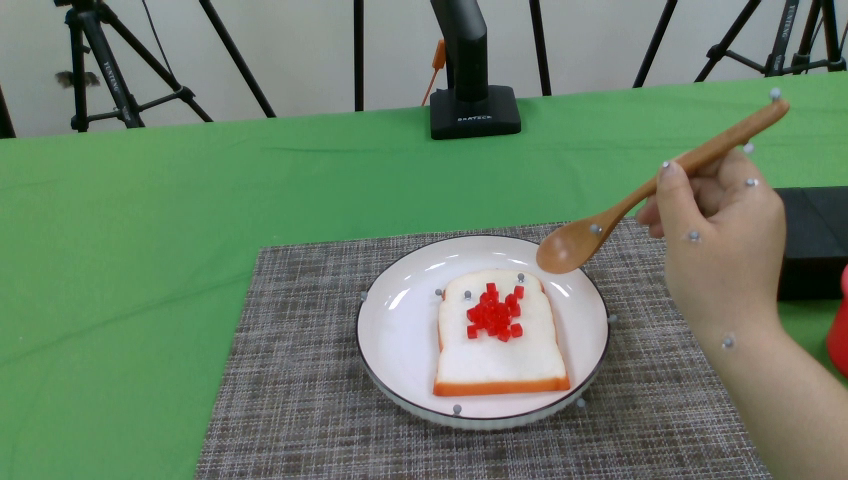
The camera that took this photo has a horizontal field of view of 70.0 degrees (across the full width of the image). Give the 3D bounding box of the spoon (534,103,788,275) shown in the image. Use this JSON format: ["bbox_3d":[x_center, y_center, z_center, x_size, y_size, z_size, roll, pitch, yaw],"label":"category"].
[{"bbox_3d":[0.145,-0.028,0.401,0.022,0.194,0.041,23,49,-24],"label":"spoon"}]

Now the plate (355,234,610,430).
[{"bbox_3d":[0.047,0.073,0.511,0.209,0.038,0.207,-4,40,3],"label":"plate"}]

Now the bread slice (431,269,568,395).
[{"bbox_3d":[0.059,0.073,0.512,0.105,0.019,0.130,-3,40,3],"label":"bread slice"}]
